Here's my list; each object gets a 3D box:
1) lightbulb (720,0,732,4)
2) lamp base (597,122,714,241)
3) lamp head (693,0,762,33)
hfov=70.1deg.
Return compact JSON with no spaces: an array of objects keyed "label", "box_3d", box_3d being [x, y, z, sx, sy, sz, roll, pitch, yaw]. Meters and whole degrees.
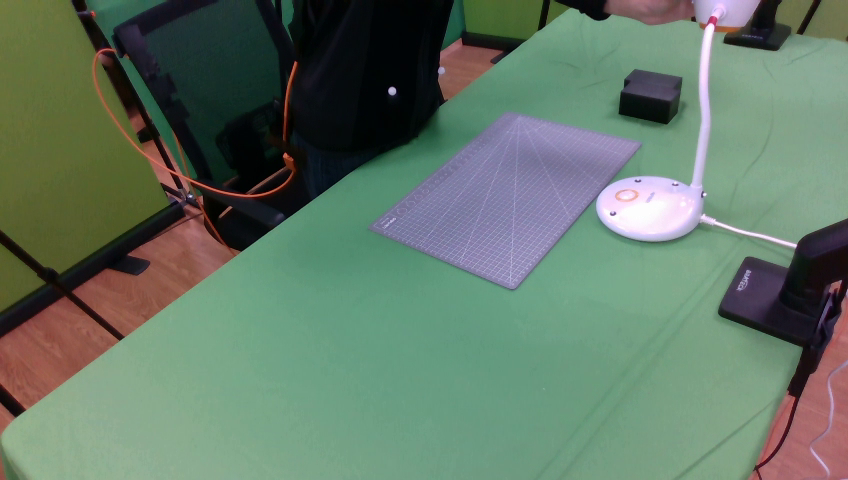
[{"label":"lightbulb","box_3d":[0.438,-0.393,0.860,0.059,0.108,0.059,-2,28,2]},{"label":"lamp base","box_3d":[0.364,-0.109,0.921,0.178,0.181,0.160,13,45,21]},{"label":"lamp head","box_3d":[0.439,-0.362,0.870,0.112,0.123,0.112,2,28,0]}]
